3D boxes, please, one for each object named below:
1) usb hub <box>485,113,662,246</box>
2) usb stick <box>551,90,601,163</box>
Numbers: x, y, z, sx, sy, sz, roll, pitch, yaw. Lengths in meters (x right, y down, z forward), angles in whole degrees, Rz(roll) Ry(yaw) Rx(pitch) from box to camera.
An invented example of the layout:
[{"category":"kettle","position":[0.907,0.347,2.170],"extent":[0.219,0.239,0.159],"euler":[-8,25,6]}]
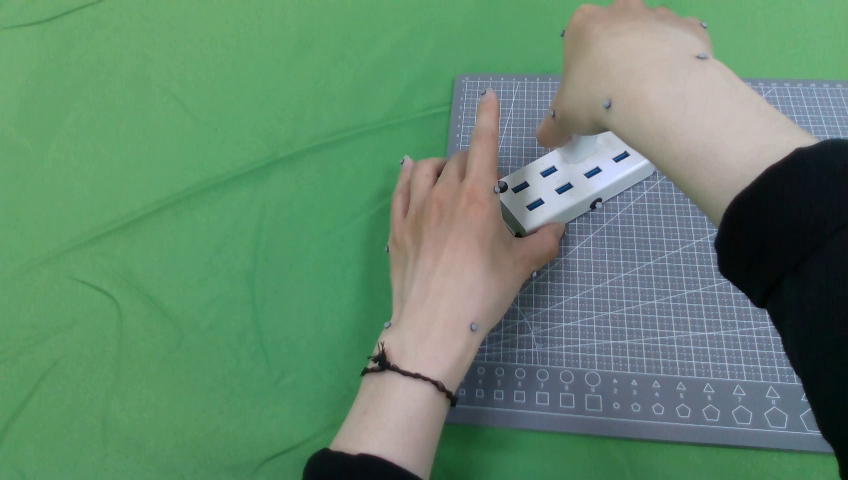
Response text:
[{"category":"usb hub","position":[0.110,-0.047,0.447],"extent":[0.125,0.025,0.049],"euler":[-29,61,-12]},{"category":"usb stick","position":[0.107,-0.075,0.430],"extent":[0.021,0.060,0.027],"euler":[-30,58,-13]}]
